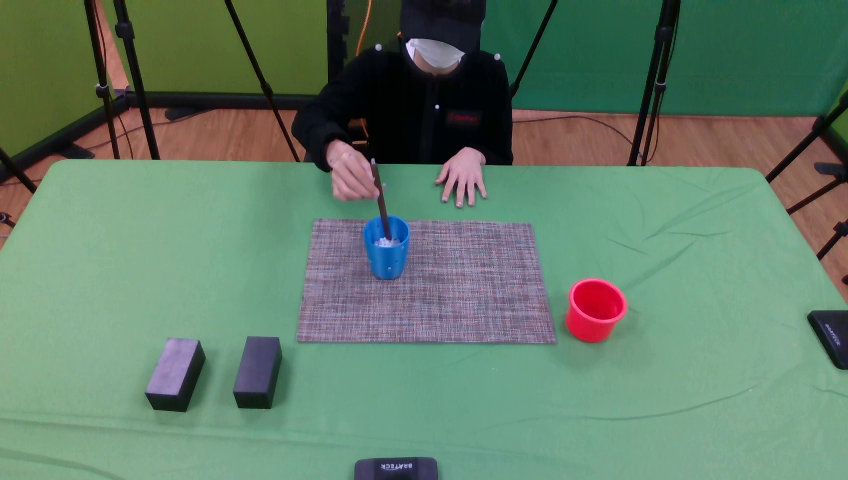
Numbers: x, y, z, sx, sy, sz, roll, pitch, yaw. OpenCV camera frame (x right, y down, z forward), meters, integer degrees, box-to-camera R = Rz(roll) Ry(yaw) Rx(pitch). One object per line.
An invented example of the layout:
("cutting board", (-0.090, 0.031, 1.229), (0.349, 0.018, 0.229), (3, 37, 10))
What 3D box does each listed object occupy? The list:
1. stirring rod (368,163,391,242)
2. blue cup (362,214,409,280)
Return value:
("stirring rod", (-0.075, -0.060, 1.038), (0.014, 0.177, 0.006), (19, 50, 26))
("blue cup", (-0.070, 0.020, 1.114), (0.093, 0.101, 0.092), (1, 45, -1))
